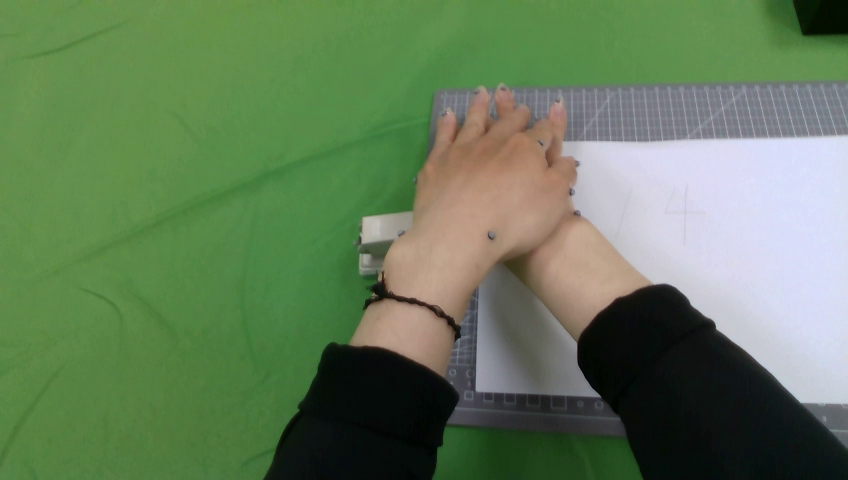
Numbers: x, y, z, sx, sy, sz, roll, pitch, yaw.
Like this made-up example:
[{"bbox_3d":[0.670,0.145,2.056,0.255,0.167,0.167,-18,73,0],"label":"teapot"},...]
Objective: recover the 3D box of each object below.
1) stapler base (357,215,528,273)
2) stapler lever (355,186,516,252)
[{"bbox_3d":[0.011,-0.002,0.453,0.130,0.025,0.041,-6,55,7],"label":"stapler base"},{"bbox_3d":[0.006,-0.015,0.432,0.118,0.040,0.026,-5,55,6],"label":"stapler lever"}]
